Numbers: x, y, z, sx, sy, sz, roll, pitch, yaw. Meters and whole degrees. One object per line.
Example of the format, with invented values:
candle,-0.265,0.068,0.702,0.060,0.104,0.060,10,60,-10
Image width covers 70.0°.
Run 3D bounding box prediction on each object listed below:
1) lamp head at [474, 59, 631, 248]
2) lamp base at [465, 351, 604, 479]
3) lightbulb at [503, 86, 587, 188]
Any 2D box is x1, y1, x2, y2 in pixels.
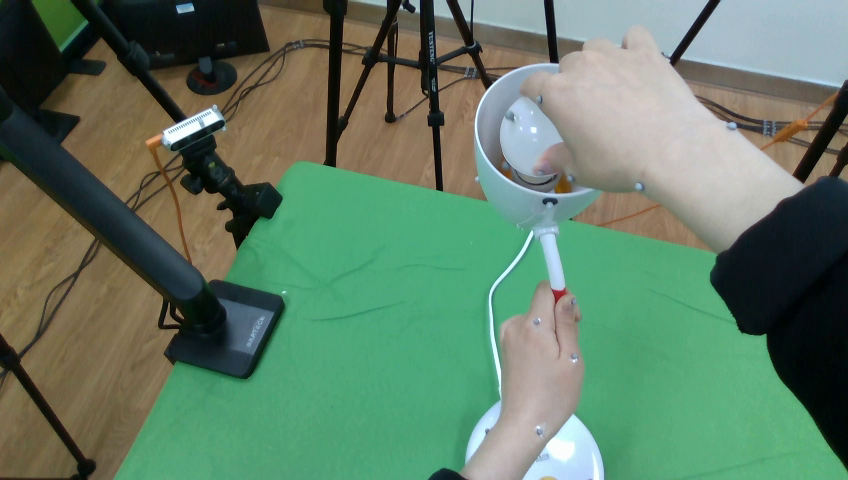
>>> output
lamp head,0.092,-0.057,0.476,0.112,0.124,0.111,0,62,1
lamp base,0.122,0.206,0.647,0.161,0.182,0.177,-22,57,-14
lightbulb,0.088,-0.070,0.454,0.059,0.108,0.059,-2,68,5
